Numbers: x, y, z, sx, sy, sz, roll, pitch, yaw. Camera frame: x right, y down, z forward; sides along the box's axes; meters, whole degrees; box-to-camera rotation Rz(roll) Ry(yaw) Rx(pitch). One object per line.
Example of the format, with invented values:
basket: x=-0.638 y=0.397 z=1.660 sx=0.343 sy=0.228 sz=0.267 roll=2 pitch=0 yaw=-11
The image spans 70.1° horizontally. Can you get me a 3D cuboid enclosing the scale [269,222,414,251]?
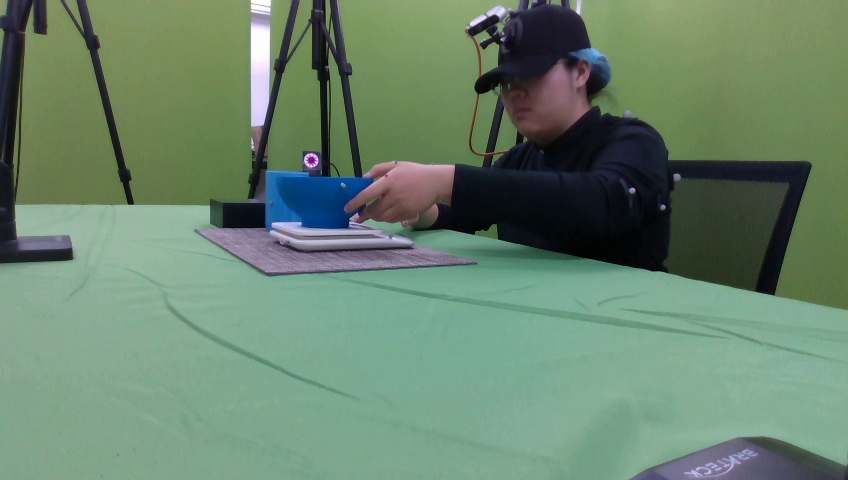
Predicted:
scale: x=-0.130 y=-0.008 z=0.959 sx=0.202 sy=0.031 sz=0.148 roll=-1 pitch=8 yaw=-32

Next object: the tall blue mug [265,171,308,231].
tall blue mug: x=-0.248 y=-0.073 z=1.121 sx=0.078 sy=0.108 sz=0.107 roll=3 pitch=7 yaw=8

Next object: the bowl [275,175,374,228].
bowl: x=-0.153 y=-0.060 z=0.935 sx=0.151 sy=0.077 sz=0.151 roll=1 pitch=6 yaw=0
